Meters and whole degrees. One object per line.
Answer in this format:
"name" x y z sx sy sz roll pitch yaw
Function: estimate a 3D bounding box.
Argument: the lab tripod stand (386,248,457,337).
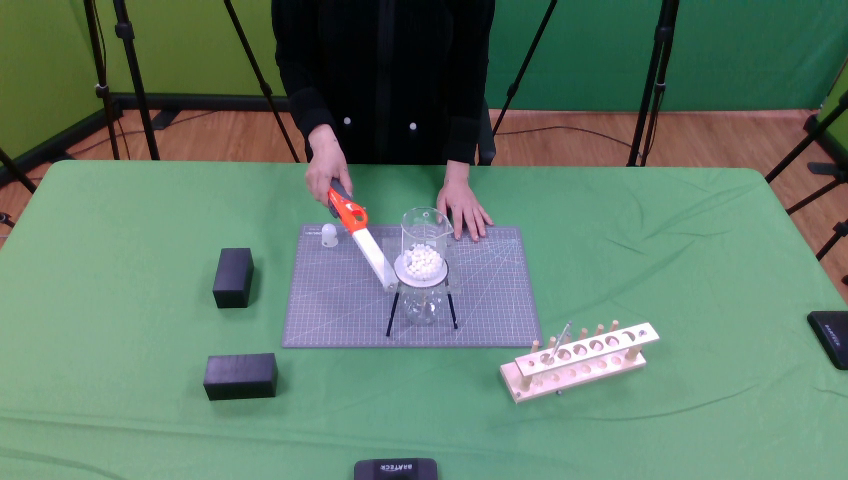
"lab tripod stand" -0.010 0.087 1.032 0.148 0.132 0.147 1 45 -1

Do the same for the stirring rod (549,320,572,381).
"stirring rod" 0.202 0.167 0.901 0.006 0.177 0.014 -17 54 -11

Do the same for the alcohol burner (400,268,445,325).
"alcohol burner" -0.003 0.092 1.042 0.078 0.120 0.077 1 47 0

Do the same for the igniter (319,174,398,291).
"igniter" -0.121 -0.022 1.082 0.057 0.025 0.275 -18 58 -29

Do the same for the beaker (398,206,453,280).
"beaker" 0.000 0.008 0.950 0.084 0.101 0.073 10 45 6

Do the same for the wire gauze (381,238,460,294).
"wire gauze" -0.007 0.042 0.985 0.125 0.011 0.120 -2 43 -2

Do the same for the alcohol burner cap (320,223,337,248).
"alcohol burner cap" -0.187 -0.011 1.176 0.034 0.048 0.033 1 46 -1

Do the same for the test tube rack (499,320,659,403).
"test tube rack" 0.252 0.187 0.994 0.243 0.085 0.066 -12 48 -15
